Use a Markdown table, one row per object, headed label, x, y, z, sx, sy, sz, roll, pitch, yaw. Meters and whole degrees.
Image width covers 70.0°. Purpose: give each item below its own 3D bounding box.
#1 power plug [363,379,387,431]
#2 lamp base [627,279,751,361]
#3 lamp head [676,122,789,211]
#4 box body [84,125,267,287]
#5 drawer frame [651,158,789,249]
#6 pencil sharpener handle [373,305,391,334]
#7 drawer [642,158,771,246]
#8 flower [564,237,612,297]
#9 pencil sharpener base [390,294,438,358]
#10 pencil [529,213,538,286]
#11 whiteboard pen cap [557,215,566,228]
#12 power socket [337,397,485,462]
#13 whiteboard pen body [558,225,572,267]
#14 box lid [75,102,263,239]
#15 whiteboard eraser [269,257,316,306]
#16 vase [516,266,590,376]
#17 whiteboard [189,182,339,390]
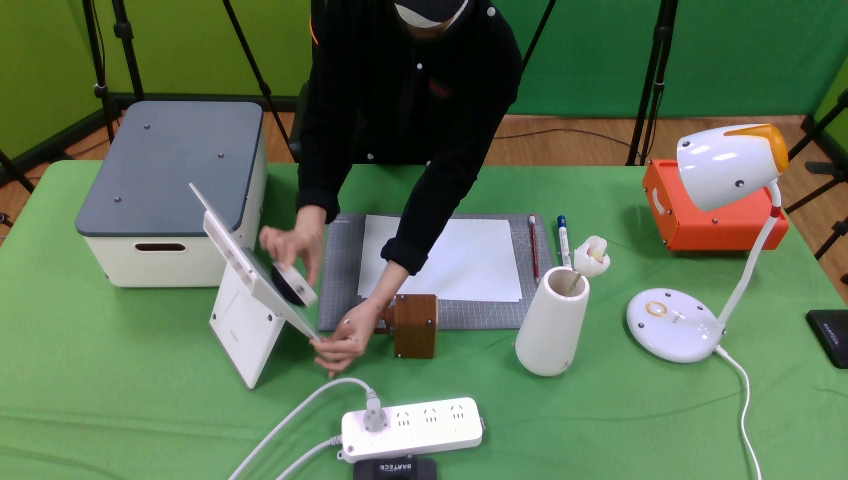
| label | x | y | z | sx | sy | sz | roll | pitch | yaw |
| --- | --- | --- | --- | --- | --- | --- | --- | --- | --- |
| power plug | -0.072 | 0.252 | 0.910 | 0.035 | 0.053 | 0.072 | 3 | 45 | -1 |
| lamp base | 0.459 | 0.100 | 1.027 | 0.178 | 0.181 | 0.160 | 27 | 51 | 17 |
| lamp head | 0.423 | -0.104 | 0.819 | 0.122 | 0.113 | 0.112 | -13 | 33 | 40 |
| box body | -0.446 | -0.088 | 1.150 | 0.254 | 0.161 | 0.361 | -1 | 46 | -5 |
| drawer frame | 0.571 | -0.075 | 1.214 | 0.214 | 0.083 | 0.200 | 0 | 46 | -1 |
| pencil sharpener handle | -0.068 | 0.133 | 0.989 | 0.030 | 0.068 | 0.036 | 1 | 47 | -2 |
| drawer | 0.565 | -0.076 | 1.211 | 0.212 | 0.073 | 0.193 | 2 | 45 | -2 |
| flower | 0.206 | 0.088 | 0.893 | 0.038 | 0.363 | 0.044 | -16 | 67 | -9 |
| pencil sharpener base | -0.018 | 0.143 | 1.000 | 0.077 | 0.107 | 0.061 | 1 | 46 | -2 |
| pencil | 0.219 | 0.016 | 1.204 | 0.012 | 0.012 | 0.193 | 5 | 47 | 0 |
| whiteboard pen cap | 0.284 | -0.035 | 1.245 | 0.018 | 0.018 | 0.033 | 4 | 52 | -1 |
| power socket | -0.018 | 0.285 | 0.915 | 0.227 | 0.033 | 0.071 | -5 | 46 | -8 |
| whiteboard pen body | 0.280 | 0.010 | 1.207 | 0.017 | 0.017 | 0.140 | 3 | 50 | -1 |
| box lid | -0.443 | -0.138 | 1.094 | 0.263 | 0.015 | 0.369 | -1 | 47 | -5 |
| whiteboard eraser | -0.205 | 0.065 | 0.928 | 0.042 | 0.056 | 0.112 | -42 | 24 | -10 |
| vase | 0.208 | 0.132 | 0.964 | 0.098 | 0.201 | 0.097 | 3 | 46 | -3 |
| whiteboard | -0.292 | 0.096 | 0.929 | 0.144 | 0.307 | 0.216 | -37 | 57 | -10 |
